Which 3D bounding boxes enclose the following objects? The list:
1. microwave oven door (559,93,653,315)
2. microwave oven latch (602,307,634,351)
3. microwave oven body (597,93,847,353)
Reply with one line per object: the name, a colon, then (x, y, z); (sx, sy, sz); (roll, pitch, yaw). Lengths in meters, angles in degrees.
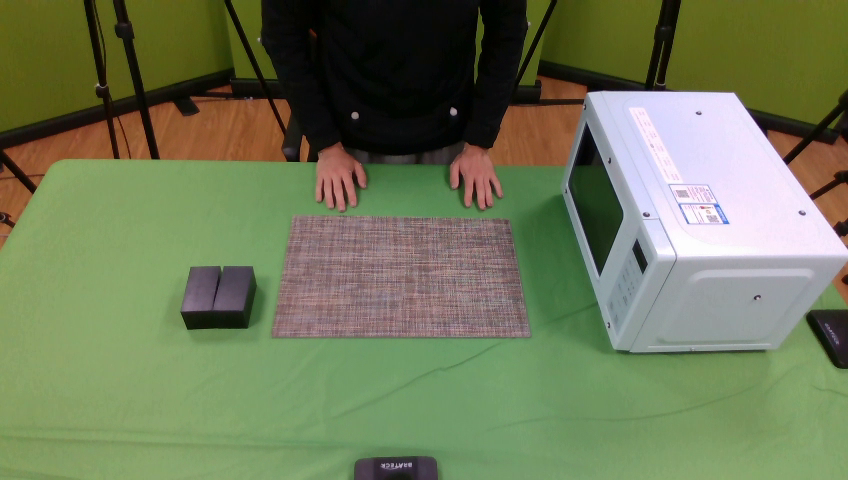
microwave oven door: (0.327, -0.074, 1.123); (0.039, 0.245, 0.353); (-1, 46, -5)
microwave oven latch: (0.332, 0.153, 1.043); (0.030, 0.029, 0.078); (0, 45, -4)
microwave oven body: (0.475, -0.041, 1.109); (0.326, 0.261, 0.438); (-1, 45, -4)
